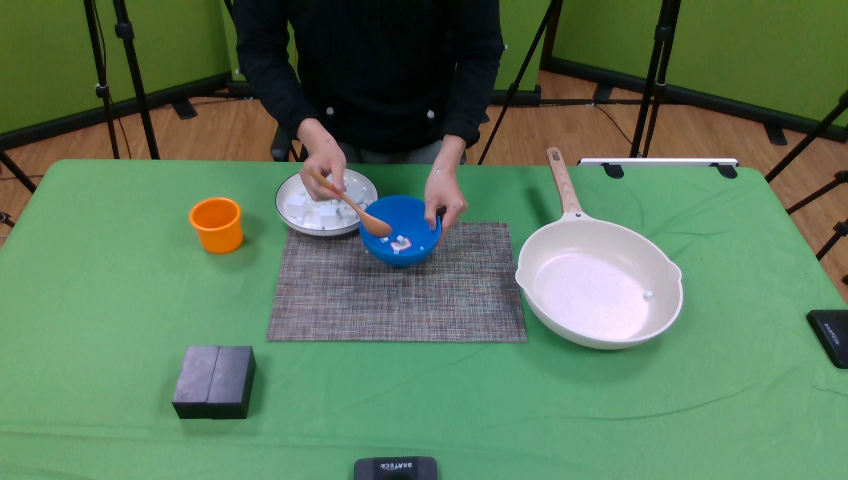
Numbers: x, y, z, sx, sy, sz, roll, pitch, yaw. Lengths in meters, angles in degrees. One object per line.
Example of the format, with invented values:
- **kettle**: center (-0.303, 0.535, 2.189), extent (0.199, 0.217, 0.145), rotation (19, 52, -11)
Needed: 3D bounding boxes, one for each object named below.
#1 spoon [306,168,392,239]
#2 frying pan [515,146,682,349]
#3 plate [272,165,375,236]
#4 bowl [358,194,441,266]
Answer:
- **spoon**: center (-0.129, -0.060, 1.042), extent (0.195, 0.041, 0.021), rotation (42, 34, -26)
- **frying pan**: center (0.303, -0.004, 1.168), extent (0.307, 0.103, 0.484), rotation (-2, 55, -7)
- **plate**: center (-0.204, -0.076, 1.240), extent (0.208, 0.039, 0.206), rotation (3, 44, -2)
- **bowl**: center (-0.047, -0.005, 1.126), extent (0.151, 0.077, 0.150), rotation (3, 49, -3)
